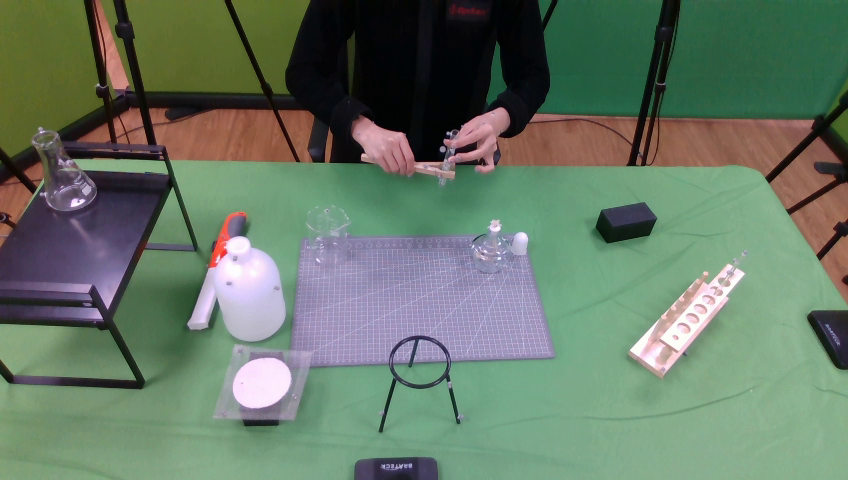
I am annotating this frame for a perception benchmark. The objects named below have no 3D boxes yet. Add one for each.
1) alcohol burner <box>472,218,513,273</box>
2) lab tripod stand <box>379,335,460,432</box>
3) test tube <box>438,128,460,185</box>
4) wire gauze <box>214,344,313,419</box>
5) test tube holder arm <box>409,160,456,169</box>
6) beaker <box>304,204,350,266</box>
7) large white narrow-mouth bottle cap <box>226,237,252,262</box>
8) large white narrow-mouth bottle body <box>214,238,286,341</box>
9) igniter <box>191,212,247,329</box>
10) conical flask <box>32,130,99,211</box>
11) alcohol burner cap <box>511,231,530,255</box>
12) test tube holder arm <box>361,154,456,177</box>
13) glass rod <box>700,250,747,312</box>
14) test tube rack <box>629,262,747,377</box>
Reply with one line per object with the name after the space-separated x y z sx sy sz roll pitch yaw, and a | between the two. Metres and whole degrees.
0.128 0.005 1.132 0.078 0.120 0.077 0 47 0 | alcohol burner
-0.010 0.214 0.912 0.148 0.132 0.147 1 45 0 | lab tripod stand
0.044 -0.148 1.102 0.017 0.151 0.017 4 58 -6 | test tube
-0.241 0.213 0.915 0.121 0.011 0.124 5 46 1 | wire gauze
0.015 -0.140 1.130 0.088 0.015 0.010 -4 53 -7 | test tube holder arm
-0.178 -0.006 1.132 0.084 0.101 0.073 4 46 -1 | beaker
-0.282 0.014 0.923 0.038 0.024 0.037 2 46 -2 | large white narrow-mouth bottle cap
-0.285 0.073 0.986 0.102 0.195 0.101 2 46 -2 | large white narrow-mouth bottle body
-0.376 0.047 1.121 0.057 0.025 0.275 -4 46 6 | igniter
-0.565 -0.110 0.944 0.075 0.122 0.075 2 46 -2 | conical flask
0.191 0.003 1.187 0.034 0.048 0.033 3 44 -2 | alcohol burner cap
-0.030 -0.139 1.126 0.178 0.015 0.013 10 52 3 | test tube holder arm
0.500 0.075 1.021 0.008 0.201 0.008 0 54 1 | glass rod
0.464 0.126 1.061 0.242 0.085 0.066 -34 56 -30 | test tube rack
